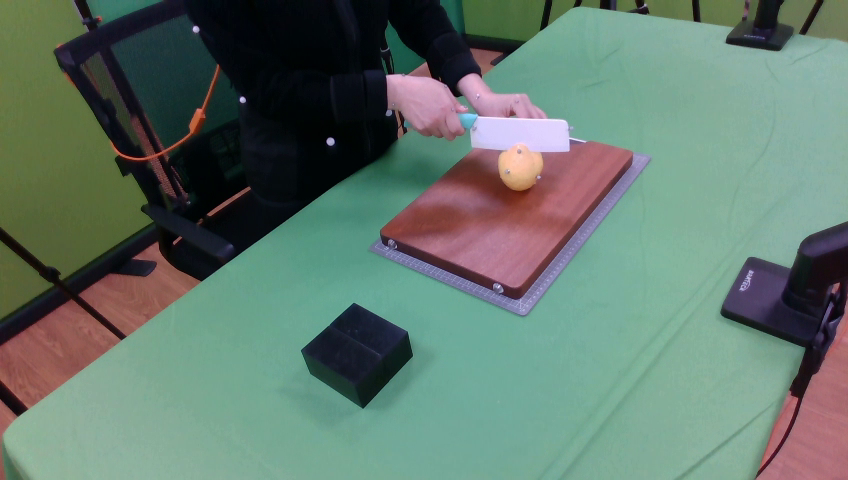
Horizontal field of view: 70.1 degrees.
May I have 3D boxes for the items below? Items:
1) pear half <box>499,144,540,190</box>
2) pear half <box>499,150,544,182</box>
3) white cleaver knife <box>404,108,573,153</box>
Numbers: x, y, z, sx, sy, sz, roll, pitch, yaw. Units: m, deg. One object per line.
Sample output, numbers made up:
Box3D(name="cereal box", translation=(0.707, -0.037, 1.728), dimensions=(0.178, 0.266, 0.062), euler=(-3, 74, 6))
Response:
Box3D(name="pear half", translation=(0.155, -0.115, 0.997), dimensions=(0.070, 0.088, 0.031), euler=(10, 46, 14))
Box3D(name="pear half", translation=(0.166, -0.145, 1.015), dimensions=(0.076, 0.110, 0.056), euler=(11, 47, 15))
Box3D(name="white cleaver knife", translation=(0.099, -0.176, 0.986), dimensions=(0.285, 0.066, 0.021), euler=(9, 37, 21))
